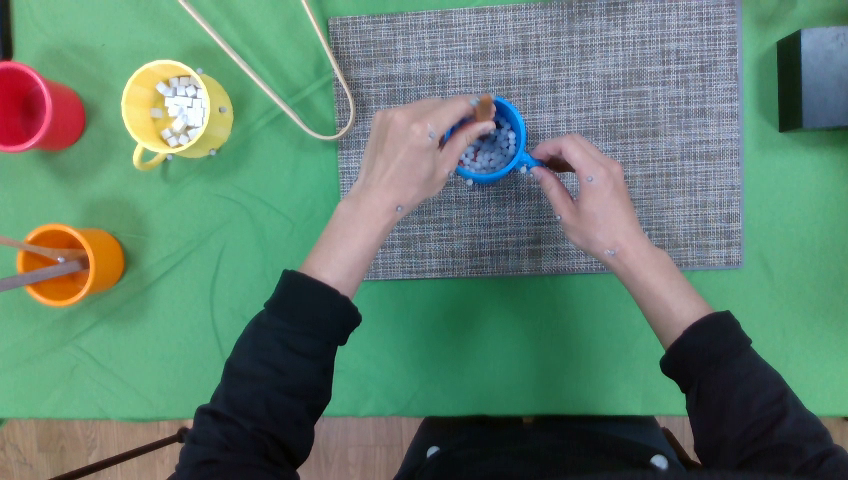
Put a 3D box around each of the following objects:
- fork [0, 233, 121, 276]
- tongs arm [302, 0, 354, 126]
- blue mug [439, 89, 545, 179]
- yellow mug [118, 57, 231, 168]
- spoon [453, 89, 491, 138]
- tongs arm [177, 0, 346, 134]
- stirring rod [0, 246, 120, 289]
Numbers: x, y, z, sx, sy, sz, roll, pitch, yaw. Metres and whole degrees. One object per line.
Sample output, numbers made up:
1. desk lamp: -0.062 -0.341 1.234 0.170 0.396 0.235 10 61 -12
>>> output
1. fork: -0.441 0.002 0.661 0.209 0.018 0.028 24 91 -41
2. tongs arm: -0.165 -0.306 0.657 0.028 0.027 0.388 -28 99 -3
3. blue mug: 0.074 -0.101 0.637 0.116 0.106 0.082 27 95 1
4. yellow mug: -0.287 -0.135 0.682 0.100 0.064 0.131 36 97 0
5. spoon: 0.050 -0.114 0.563 0.041 0.193 0.021 -7 94 1
6. tongs arm: -0.234 -0.257 0.663 0.051 0.026 0.386 -41 98 3
7. stirring rod: -0.430 0.036 0.669 0.176 0.006 0.014 -20 89 -36
